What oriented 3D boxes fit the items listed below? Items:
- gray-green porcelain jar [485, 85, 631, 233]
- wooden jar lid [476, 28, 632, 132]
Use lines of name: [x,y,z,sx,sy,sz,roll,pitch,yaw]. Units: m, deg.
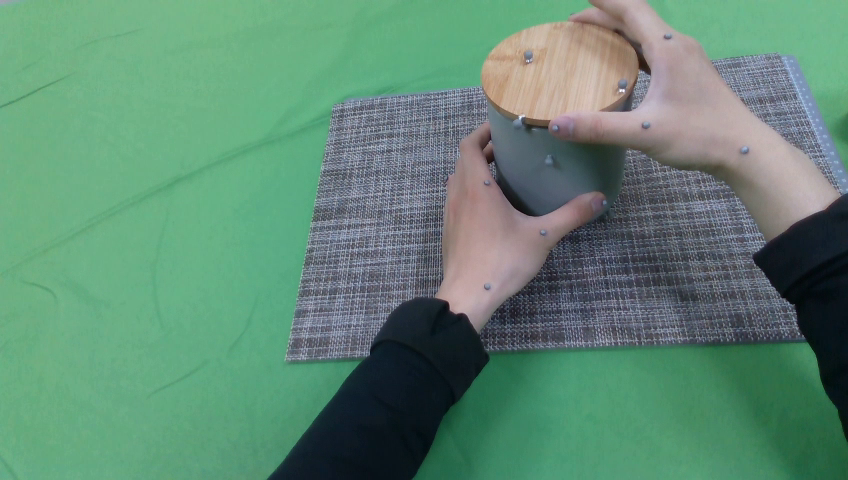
gray-green porcelain jar: [0.105,-0.076,0.484,0.106,0.128,0.105,-6,54,8]
wooden jar lid: [0.092,-0.112,0.433,0.108,0.021,0.107,-5,53,7]
